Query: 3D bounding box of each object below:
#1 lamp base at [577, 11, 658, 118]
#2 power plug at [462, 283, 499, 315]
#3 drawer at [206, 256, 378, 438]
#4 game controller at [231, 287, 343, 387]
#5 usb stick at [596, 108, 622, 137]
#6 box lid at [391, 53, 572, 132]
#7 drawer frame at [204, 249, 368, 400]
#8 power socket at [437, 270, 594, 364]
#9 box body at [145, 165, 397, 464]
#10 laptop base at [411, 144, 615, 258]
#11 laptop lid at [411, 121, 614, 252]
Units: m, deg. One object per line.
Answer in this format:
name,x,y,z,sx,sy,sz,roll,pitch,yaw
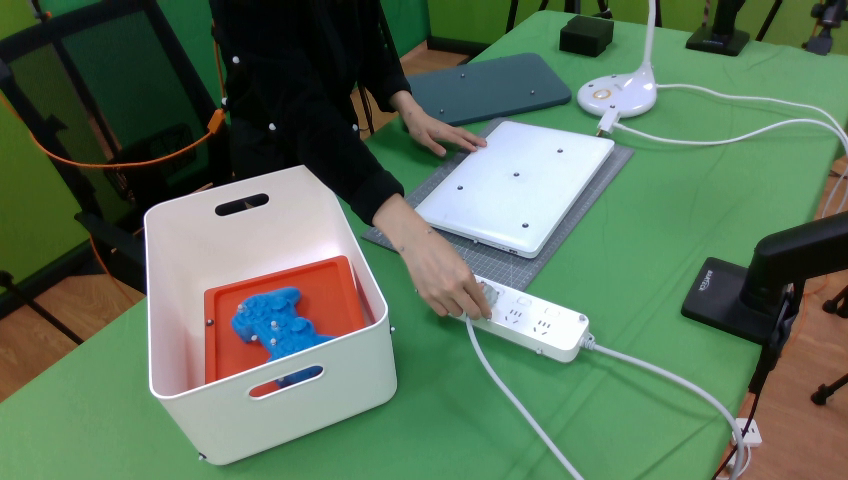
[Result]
lamp base,0.406,-0.363,1.222,0.180,0.181,0.159,-20,42,-18
power plug,0.069,0.087,0.809,0.073,0.053,0.035,-38,44,-27
drawer,-0.177,0.130,0.788,0.195,0.073,0.210,-14,39,-9
game controller,-0.167,0.110,0.734,0.097,0.052,0.154,-35,47,-22
usb stick,0.354,-0.223,1.168,0.027,0.059,0.022,37,13,34
box lid,0.123,-0.339,1.366,0.372,0.015,0.261,-12,40,-5
drawer frame,-0.174,0.129,0.791,0.202,0.083,0.212,-16,45,-8
power socket,0.118,0.102,0.830,0.225,0.033,0.072,20,48,28
box body,-0.205,0.080,0.802,0.255,0.161,0.361,-18,41,-13
laptop base,0.167,-0.102,1.074,0.234,0.023,0.355,16,45,30
laptop lid,0.164,-0.112,1.068,0.240,0.013,0.357,19,46,30
